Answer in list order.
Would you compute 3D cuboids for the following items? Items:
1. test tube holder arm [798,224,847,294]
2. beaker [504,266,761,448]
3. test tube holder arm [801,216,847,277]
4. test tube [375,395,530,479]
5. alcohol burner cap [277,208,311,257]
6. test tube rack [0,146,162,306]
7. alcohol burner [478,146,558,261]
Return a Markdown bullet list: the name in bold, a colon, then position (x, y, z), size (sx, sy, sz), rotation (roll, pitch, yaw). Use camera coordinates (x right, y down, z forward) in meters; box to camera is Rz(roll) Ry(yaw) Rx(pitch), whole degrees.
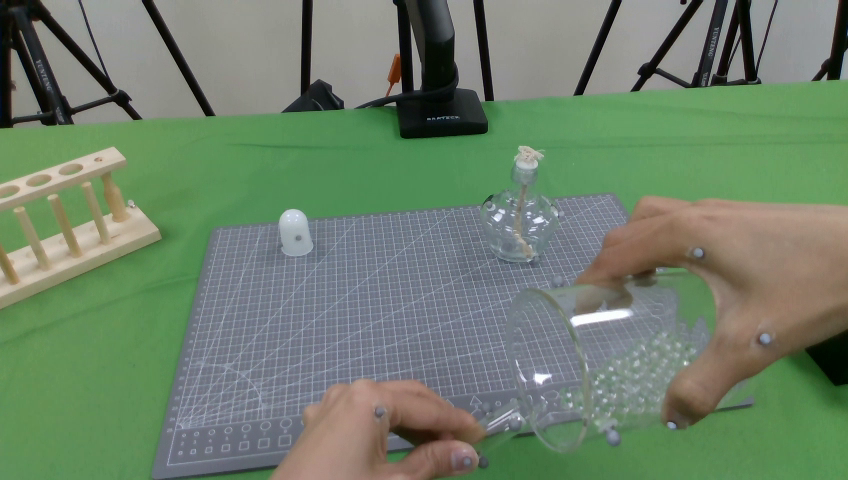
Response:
- **test tube holder arm**: position (0.348, 0.040, 0.485), size (0.015, 0.013, 0.176), rotation (1, 38, 1)
- **beaker**: position (0.098, 0.054, 0.292), size (0.100, 0.084, 0.073), rotation (-7, 49, -17)
- **test tube holder arm**: position (0.349, 0.008, 0.516), size (0.015, 0.010, 0.087), rotation (1, 39, 1)
- **test tube**: position (-0.005, 0.127, 0.330), size (0.150, 0.017, 0.017), rotation (-38, 34, 20)
- **alcohol burner cap**: position (-0.133, -0.010, 0.610), size (0.034, 0.048, 0.033), rotation (-1, 38, 1)
- **test tube rack**: position (-0.389, 0.000, 0.570), size (0.242, 0.086, 0.066), rotation (-29, 47, -31)
- **alcohol burner**: position (0.093, -0.039, 0.585), size (0.078, 0.120, 0.077), rotation (1, 38, 0)
